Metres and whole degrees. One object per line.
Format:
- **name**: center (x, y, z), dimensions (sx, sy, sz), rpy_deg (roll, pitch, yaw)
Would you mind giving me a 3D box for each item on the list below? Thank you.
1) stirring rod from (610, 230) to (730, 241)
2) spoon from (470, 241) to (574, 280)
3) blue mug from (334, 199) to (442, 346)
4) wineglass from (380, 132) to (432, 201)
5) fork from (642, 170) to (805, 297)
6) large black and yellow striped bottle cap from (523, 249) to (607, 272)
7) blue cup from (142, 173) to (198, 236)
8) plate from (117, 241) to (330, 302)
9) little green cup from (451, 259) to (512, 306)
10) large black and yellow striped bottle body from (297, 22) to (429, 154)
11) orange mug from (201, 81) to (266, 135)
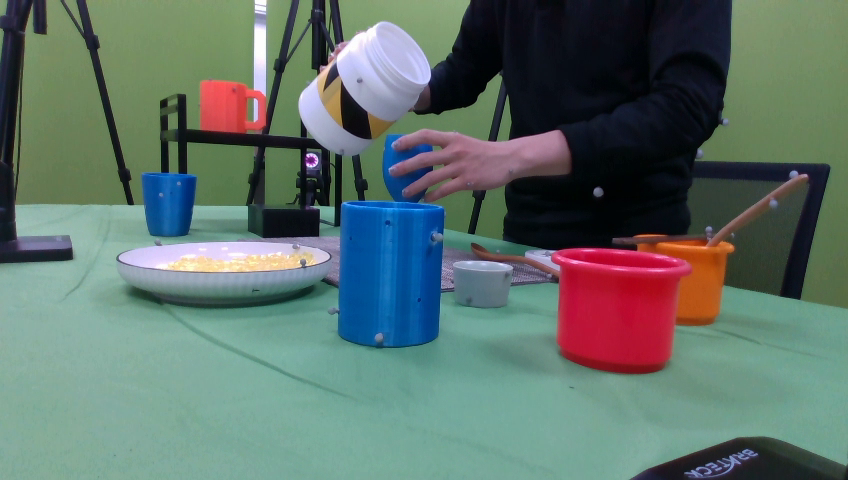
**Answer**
- **stirring rod**: center (0.241, -0.005, 0.581), dimensions (0.177, 0.006, 0.014), rpy_deg (-2, 10, -34)
- **spoon**: center (0.124, 0.025, 0.800), dimensions (0.042, 0.021, 0.192), rpy_deg (22, -5, -34)
- **blue mug**: center (-0.034, 0.020, 0.498), dimensions (0.083, 0.106, 0.116), rpy_deg (0, 7, -20)
- **wineglass**: center (-0.026, -0.062, 0.842), dimensions (0.074, 0.172, 0.073), rpy_deg (2, 7, 0)
- **fork**: center (0.261, 0.004, 0.545), dimensions (0.028, 0.018, 0.207), rpy_deg (5, -37, -15)
- **large black and yellow striped bottle cap**: center (0.198, 0.028, 0.851), dimensions (0.115, 0.019, 0.115), rpy_deg (5, 5, 0)
- **blue cup**: center (-0.425, -0.060, 1.014), dimensions (0.093, 0.100, 0.092), rpy_deg (4, 9, 0)
- **plate**: center (-0.203, 0.031, 0.630), dimensions (0.209, 0.038, 0.209), rpy_deg (3, 7, 0)
- **little green cup**: center (0.057, 0.043, 0.611), dimensions (0.061, 0.038, 0.061), rpy_deg (3, 8, 0)
- **large black and yellow striped bottle body**: center (-0.092, -0.231, 0.928), dimensions (0.183, 0.130, 0.131), rpy_deg (-34, -16, 35)
- **orange mug**: center (-0.377, -0.260, 1.197), dimensions (0.126, 0.101, 0.083), rpy_deg (-2, 7, -6)
